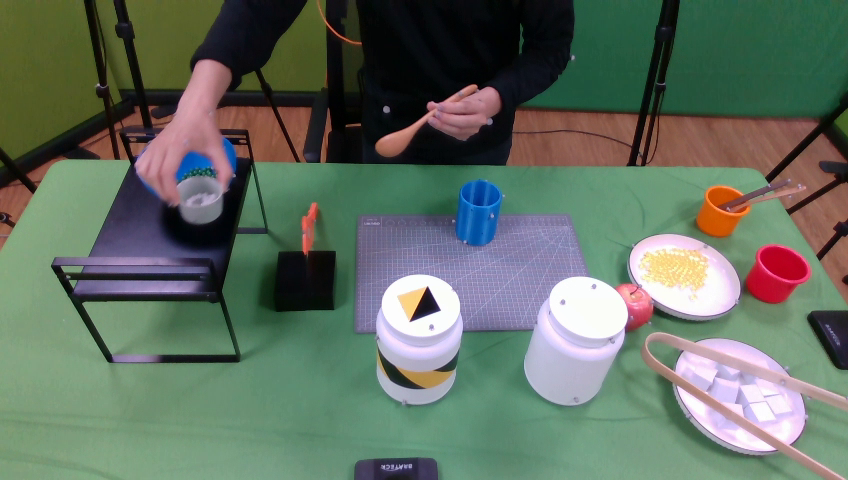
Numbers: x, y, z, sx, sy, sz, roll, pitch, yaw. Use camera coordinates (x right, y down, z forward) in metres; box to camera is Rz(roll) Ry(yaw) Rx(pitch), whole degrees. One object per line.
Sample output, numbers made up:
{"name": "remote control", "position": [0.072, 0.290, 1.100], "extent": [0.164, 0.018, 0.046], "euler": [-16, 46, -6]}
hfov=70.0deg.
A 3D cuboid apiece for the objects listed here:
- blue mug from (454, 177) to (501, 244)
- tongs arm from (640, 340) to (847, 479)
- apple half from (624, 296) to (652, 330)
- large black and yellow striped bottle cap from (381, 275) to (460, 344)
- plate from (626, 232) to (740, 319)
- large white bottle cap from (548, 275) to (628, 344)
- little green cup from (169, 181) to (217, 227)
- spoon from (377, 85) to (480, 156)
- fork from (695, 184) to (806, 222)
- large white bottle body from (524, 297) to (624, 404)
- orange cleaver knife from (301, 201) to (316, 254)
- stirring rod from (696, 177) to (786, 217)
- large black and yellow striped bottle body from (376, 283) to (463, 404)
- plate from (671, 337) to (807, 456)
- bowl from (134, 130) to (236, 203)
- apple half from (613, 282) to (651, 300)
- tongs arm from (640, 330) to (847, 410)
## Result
{"name": "blue mug", "position": [0.106, -0.067, 1.208], "extent": [0.082, 0.106, 0.116], "euler": [6, 46, 1]}
{"name": "tongs arm", "position": [0.500, 0.277, 0.920], "extent": [0.386, 0.028, 0.028], "euler": [34, 59, 22]}
{"name": "apple half", "position": [0.368, 0.135, 1.060], "extent": [0.081, 0.081, 0.032], "euler": [-11, 43, -15]}
{"name": "large black and yellow striped bottle cap", "position": [-0.005, 0.098, 0.875], "extent": [0.115, 0.019, 0.114], "euler": [2, 45, -1]}
{"name": "plate", "position": [0.489, 0.071, 1.156], "extent": [0.209, 0.038, 0.208], "euler": [3, 46, -3]}
{"name": "large white bottle cap", "position": [0.240, 0.100, 0.890], "extent": [0.115, 0.018, 0.114], "euler": [3, 47, -3]}
{"name": "little green cup", "position": [-0.318, -0.049, 0.840], "extent": [0.061, 0.039, 0.061], "euler": [7, 48, -8]}
{"name": "spoon", "position": [0.007, -0.196, 0.981], "extent": [0.194, 0.042, 0.021], "euler": [-35, 41, 5]}
{"name": "fork", "position": [0.658, -0.074, 1.230], "extent": [0.207, 0.019, 0.028], "euler": [-23, 34, 36]}
{"name": "large white bottle body", "position": [0.235, 0.159, 0.952], "extent": [0.131, 0.185, 0.130], "euler": [2, 47, -2]}
{"name": "orange cleaver knife", "position": [-0.221, -0.028, 1.160], "extent": [0.012, 0.077, 0.210], "euler": [-1, 16, -4]}
{"name": "stirring rod", "position": [0.648, -0.087, 1.244], "extent": [0.176, 0.006, 0.014], "euler": [-25, 50, 29]}
{"name": "large black and yellow striped bottle body", "position": [-0.010, 0.155, 0.937], "extent": [0.131, 0.185, 0.130], "euler": [2, 47, -2]}
{"name": "plate", "position": [0.504, 0.254, 0.984], "extent": [0.208, 0.039, 0.206], "euler": [2, 46, -2]}
{"name": "bowl", "position": [-0.375, -0.102, 0.977], "extent": [0.151, 0.077, 0.150], "euler": [2, 47, -2]}
{"name": "apple half", "position": [0.356, 0.109, 1.086], "extent": [0.081, 0.075, 0.053], "euler": [-14, 44, -12]}
{"name": "tongs arm", "position": [0.543, 0.225, 0.969], "extent": [0.384, 0.026, 0.050], "euler": [22, 53, 13]}
